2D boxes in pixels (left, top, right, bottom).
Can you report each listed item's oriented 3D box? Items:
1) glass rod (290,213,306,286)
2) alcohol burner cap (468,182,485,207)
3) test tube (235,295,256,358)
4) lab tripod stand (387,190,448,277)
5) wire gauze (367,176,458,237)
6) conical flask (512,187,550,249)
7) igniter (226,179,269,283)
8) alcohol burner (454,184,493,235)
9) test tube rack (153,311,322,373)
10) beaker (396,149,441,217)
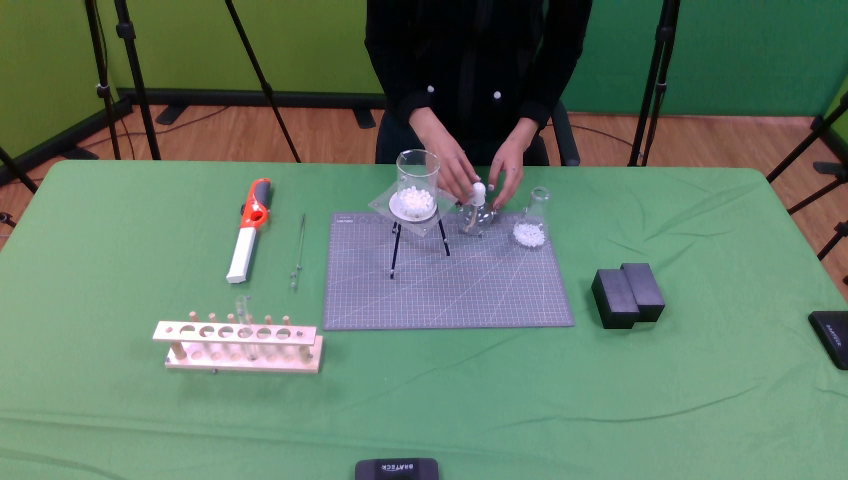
[{"bbox_3d":[-0.244,0.015,1.175,0.008,0.008,0.198,1,43,-3],"label":"glass rod"},{"bbox_3d":[0.103,-0.091,1.179,0.034,0.048,0.033,0,53,0],"label":"alcohol burner cap"},{"bbox_3d":[-0.274,0.136,0.933,0.017,0.151,0.017,4,46,-4],"label":"test tube"},{"bbox_3d":[-0.021,-0.018,1.135,0.148,0.132,0.147,3,44,-3],"label":"lab tripod stand"},{"bbox_3d":[-0.020,-0.066,1.089,0.124,0.011,0.121,27,47,22],"label":"wire gauze"},{"bbox_3d":[0.217,-0.048,1.190,0.075,0.122,0.075,2,46,-2],"label":"conical flask"},{"bbox_3d":[-0.345,-0.027,1.195,0.057,0.025,0.274,-6,46,5],"label":"igniter"},{"bbox_3d":[0.101,-0.066,1.205,0.078,0.119,0.077,4,45,-3],"label":"alcohol burner"},{"bbox_3d":[-0.293,0.160,0.978,0.242,0.085,0.066,3,46,-2],"label":"test tube rack"},{"bbox_3d":[-0.015,-0.098,1.053,0.074,0.101,0.083,-31,55,-30],"label":"beaker"}]
